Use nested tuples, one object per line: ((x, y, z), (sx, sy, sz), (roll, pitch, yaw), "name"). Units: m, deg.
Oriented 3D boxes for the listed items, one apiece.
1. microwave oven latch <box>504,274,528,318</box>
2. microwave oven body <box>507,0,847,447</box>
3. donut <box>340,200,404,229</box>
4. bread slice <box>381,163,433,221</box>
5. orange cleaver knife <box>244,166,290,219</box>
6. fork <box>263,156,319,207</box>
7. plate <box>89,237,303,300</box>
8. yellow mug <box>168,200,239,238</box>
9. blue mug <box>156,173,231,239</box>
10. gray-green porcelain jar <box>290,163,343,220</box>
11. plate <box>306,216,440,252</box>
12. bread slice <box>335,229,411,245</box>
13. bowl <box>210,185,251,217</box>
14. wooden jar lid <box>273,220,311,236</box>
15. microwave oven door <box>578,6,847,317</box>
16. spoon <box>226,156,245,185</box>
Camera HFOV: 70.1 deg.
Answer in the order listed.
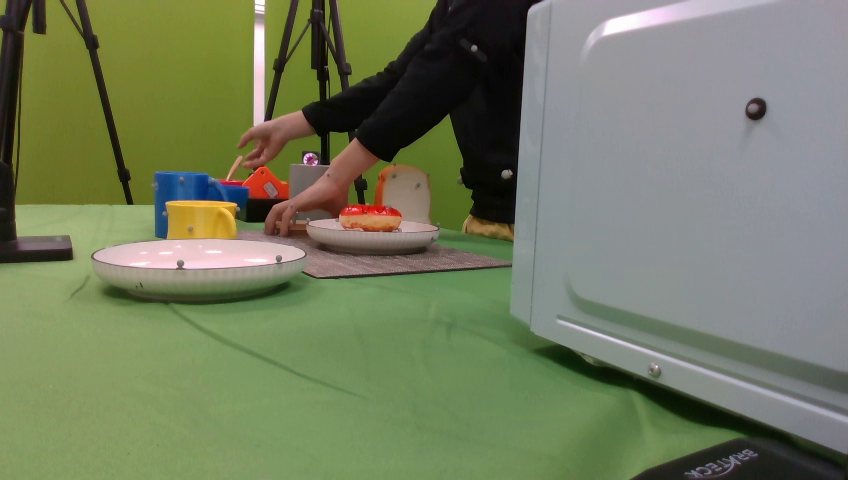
((0.100, 0.041, 0.471), (0.079, 0.029, 0.030), (-1, 8, -28), "microwave oven latch")
((0.331, -0.042, 0.425), (0.444, 0.260, 0.324), (-2, 8, -31), "microwave oven body")
((-0.081, -0.038, 0.945), (0.099, 0.048, 0.099), (1, 5, 0), "donut")
((-0.035, -0.076, 1.124), (0.107, 0.134, 0.018), (-4, 1, -25), "bread slice")
((-0.301, -0.089, 1.351), (0.212, 0.077, 0.012), (32, -11, -34), "orange cleaver knife")
((-0.331, -0.144, 1.506), (0.207, 0.018, 0.028), (-42, -18, 22), "fork")
((-0.233, 0.029, 0.637), (0.208, 0.039, 0.207), (2, 7, 0), "plate")
((-0.320, -0.023, 0.904), (0.130, 0.064, 0.100), (9, 11, 36), "yellow mug")
((-0.381, -0.057, 1.004), (0.117, 0.106, 0.082), (1, 8, -12), "blue mug")
((-0.218, -0.091, 1.220), (0.106, 0.126, 0.106), (1, 7, 0), "gray-green porcelain jar")
((-0.079, -0.011, 0.950), (0.209, 0.038, 0.209), (2, 8, 0), "plate")
((-0.074, -0.006, 0.938), (0.105, 0.019, 0.131), (-1, 5, -19), "bread slice")
((-0.408, -0.064, 1.155), (0.151, 0.077, 0.151), (2, 8, 0), "bowl")
((-0.214, -0.022, 1.080), (0.108, 0.020, 0.108), (2, 7, 0), "wooden jar lid")
((0.294, -0.067, 0.570), (0.358, 0.243, 0.039), (-3, 9, -31), "microwave oven door")
((-0.476, -0.144, 1.492), (0.041, 0.022, 0.193), (0, 51, 13), "spoon")
